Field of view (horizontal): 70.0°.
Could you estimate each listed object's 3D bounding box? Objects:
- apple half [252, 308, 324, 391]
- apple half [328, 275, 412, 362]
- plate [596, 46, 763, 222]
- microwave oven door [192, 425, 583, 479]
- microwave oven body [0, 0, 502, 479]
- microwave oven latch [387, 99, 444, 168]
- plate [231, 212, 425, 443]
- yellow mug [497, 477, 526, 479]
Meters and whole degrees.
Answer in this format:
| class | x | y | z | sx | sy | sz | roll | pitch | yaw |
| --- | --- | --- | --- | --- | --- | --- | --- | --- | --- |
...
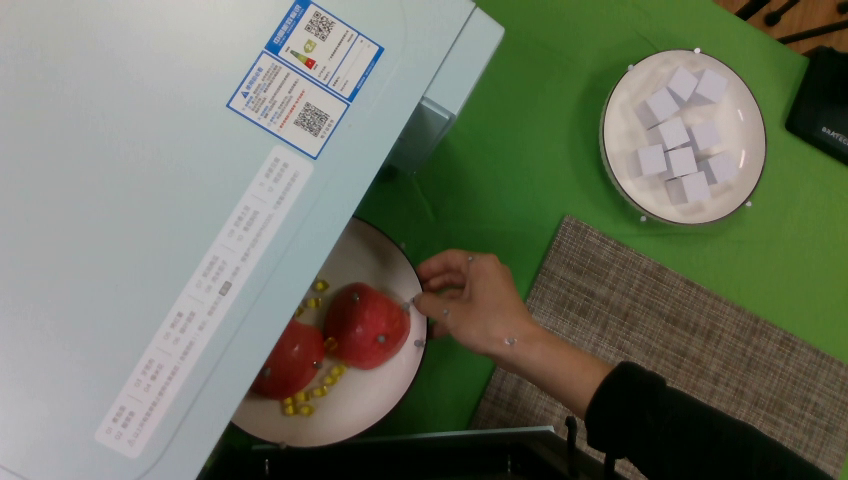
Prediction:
| class | x | y | z | sx | sy | sz | roll | pitch | yaw |
| --- | --- | --- | --- | --- | --- | --- | --- | --- | --- |
| apple half | -0.130 | 0.089 | 0.518 | 0.081 | 0.053 | 0.074 | 38 | 87 | -4 |
| apple half | -0.053 | 0.074 | 0.540 | 0.081 | 0.033 | 0.081 | 0 | 92 | 5 |
| plate | 0.297 | -0.122 | 0.716 | 0.208 | 0.039 | 0.207 | 1 | 86 | -10 |
| microwave oven door | -0.017 | 0.210 | 0.517 | 0.357 | 0.243 | 0.039 | 0 | 85 | -10 |
| microwave oven body | -0.206 | -0.046 | 0.503 | 0.327 | 0.260 | 0.441 | 30 | 82 | -8 |
| microwave oven latch | -0.008 | -0.117 | 0.641 | 0.030 | 0.029 | 0.079 | 32 | 82 | -7 |
| plate | -0.104 | 0.072 | 0.540 | 0.209 | 0.038 | 0.208 | 1 | 85 | -9 |
| yellow mug | 0.089 | 0.323 | 0.636 | 0.100 | 0.064 | 0.130 | 38 | 84 | -5 |
